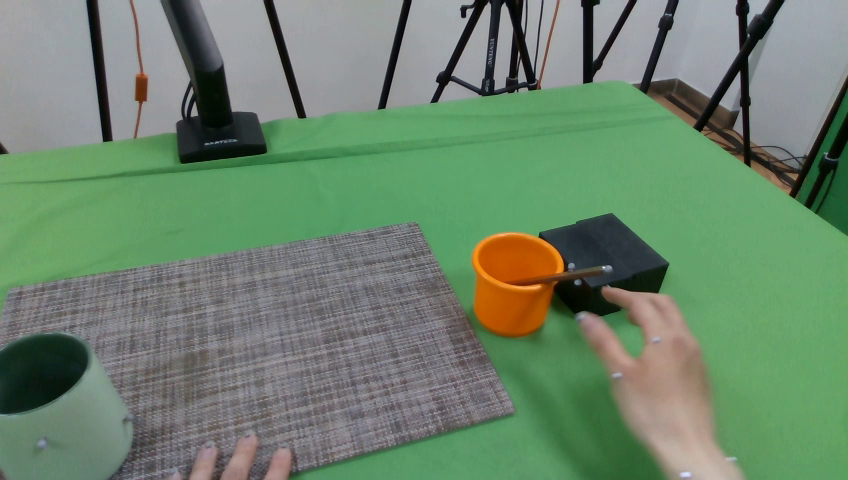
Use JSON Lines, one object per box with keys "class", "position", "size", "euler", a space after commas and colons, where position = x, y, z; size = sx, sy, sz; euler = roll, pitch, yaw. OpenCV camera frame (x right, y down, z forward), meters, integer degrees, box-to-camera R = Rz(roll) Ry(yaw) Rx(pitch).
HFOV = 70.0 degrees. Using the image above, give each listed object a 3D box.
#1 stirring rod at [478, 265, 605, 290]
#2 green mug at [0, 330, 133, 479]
{"class": "stirring rod", "position": [0.106, 0.037, 0.584], "size": [0.014, 0.006, 0.175], "euler": [-21, 2, -31]}
{"class": "green mug", "position": [-0.294, 0.137, 0.450], "size": [0.125, 0.106, 0.091], "euler": [-18, 43, -24]}
